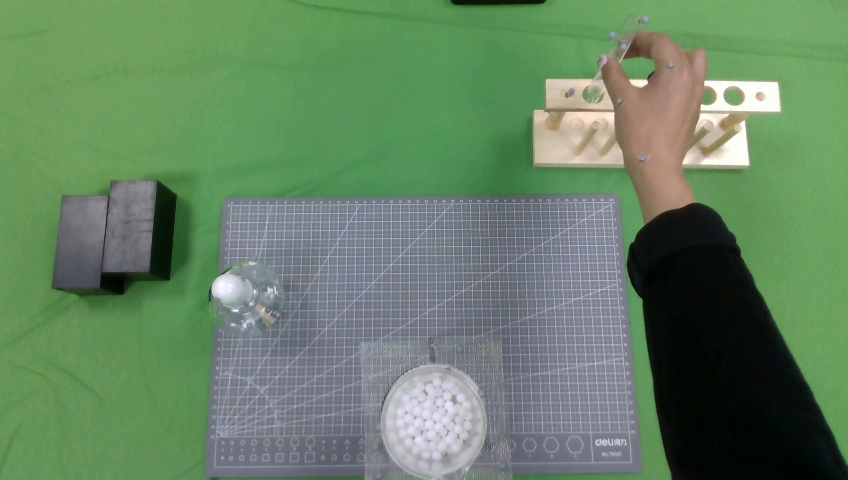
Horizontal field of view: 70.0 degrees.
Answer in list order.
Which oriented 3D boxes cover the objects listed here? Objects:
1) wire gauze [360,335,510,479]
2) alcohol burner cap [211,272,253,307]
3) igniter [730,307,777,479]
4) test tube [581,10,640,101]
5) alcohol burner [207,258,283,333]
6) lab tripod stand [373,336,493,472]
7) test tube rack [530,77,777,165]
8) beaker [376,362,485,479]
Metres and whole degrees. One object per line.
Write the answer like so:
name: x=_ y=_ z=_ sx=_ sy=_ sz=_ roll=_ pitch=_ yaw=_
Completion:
wire gauze: x=0.008 y=0.142 z=0.513 sx=0.125 sy=0.011 sz=0.121 roll=-3 pitch=75 yaw=2
alcohol burner cap: x=-0.184 y=0.046 z=0.575 sx=0.034 sy=0.048 sz=0.033 roll=1 pitch=80 yaw=-4
igniter: x=0.341 y=0.207 z=0.624 sx=0.057 sy=0.025 sz=0.275 roll=6 pitch=78 yaw=-9
test tube: x=0.171 y=-0.167 z=0.570 sx=0.017 sy=0.151 sz=0.017 roll=0 pitch=78 yaw=1
alcohol burner: x=-0.185 y=0.053 z=0.610 sx=0.078 sy=0.119 sz=0.077 roll=0 pitch=75 yaw=1
lab tripod stand: x=0.006 y=0.160 z=0.577 sx=0.148 sy=0.132 sz=0.147 roll=0 pitch=76 yaw=2
test tube rack: x=0.245 y=-0.129 z=0.668 sx=0.242 sy=0.085 sz=0.066 roll=0 pitch=77 yaw=0
beaker: x=0.008 y=0.138 z=0.465 sx=0.074 sy=0.101 sz=0.083 roll=-23 pitch=77 yaw=-4
